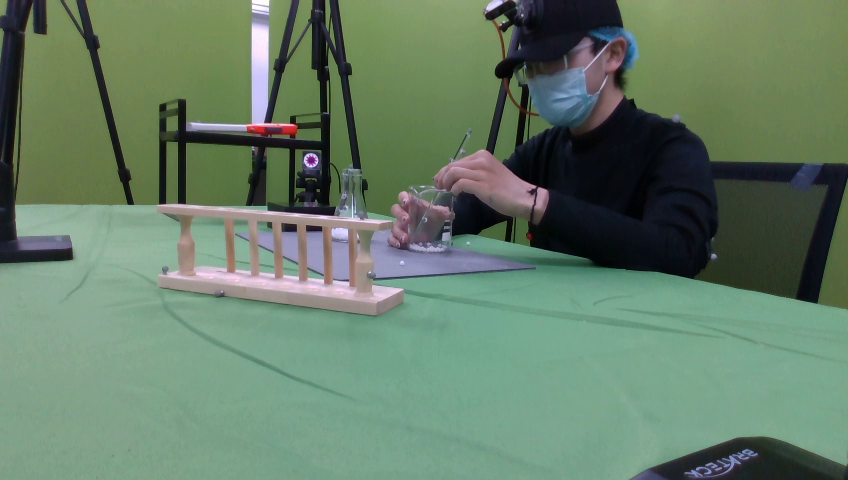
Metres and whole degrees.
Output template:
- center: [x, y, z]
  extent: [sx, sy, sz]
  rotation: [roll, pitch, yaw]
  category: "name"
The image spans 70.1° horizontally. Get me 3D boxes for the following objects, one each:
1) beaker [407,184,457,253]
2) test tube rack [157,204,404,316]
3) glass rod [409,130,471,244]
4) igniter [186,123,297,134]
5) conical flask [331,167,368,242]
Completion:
- center: [0.009, -0.034, 0.932]
  extent: [0.073, 0.100, 0.084]
  rotation: [8, 11, 26]
  category: "beaker"
- center: [-0.143, 0.013, 0.599]
  extent: [0.242, 0.085, 0.067]
  rotation: [5, 8, 19]
  category: "test tube rack"
- center: [0.024, -0.078, 0.927]
  extent: [0.008, 0.199, 0.008]
  rotation: [26, 15, -7]
  category: "glass rod"
- center: [-0.392, -0.248, 1.341]
  extent: [0.057, 0.025, 0.278]
  rotation: [9, 14, 38]
  category: "igniter"
- center: [-0.123, -0.061, 1.019]
  extent: [0.075, 0.122, 0.075]
  rotation: [2, 7, 0]
  category: "conical flask"
